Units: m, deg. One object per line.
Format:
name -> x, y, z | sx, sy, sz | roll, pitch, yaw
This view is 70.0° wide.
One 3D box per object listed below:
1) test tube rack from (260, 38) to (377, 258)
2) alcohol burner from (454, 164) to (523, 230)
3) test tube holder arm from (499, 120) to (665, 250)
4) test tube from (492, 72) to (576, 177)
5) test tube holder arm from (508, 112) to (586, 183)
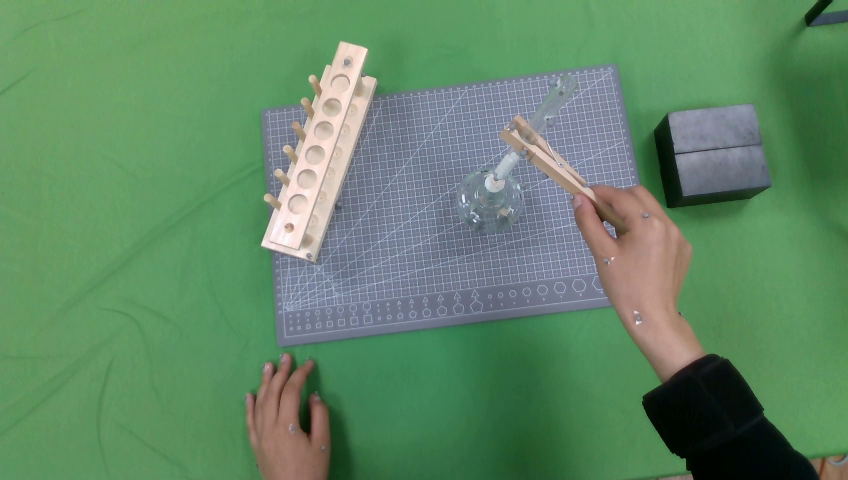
test tube rack -> -0.129, -0.108, 0.705 | 0.066, 0.085, 0.241 | 17, 80, 6
alcohol burner -> 0.073, -0.053, 0.674 | 0.078, 0.119, 0.077 | 0, 77, 1
test tube holder arm -> 0.141, -0.048, 0.543 | 0.178, 0.015, 0.013 | 38, 62, 1
test tube -> 0.093, -0.096, 0.538 | 0.017, 0.151, 0.017 | 7, 65, -14
test tube holder arm -> 0.111, -0.081, 0.547 | 0.087, 0.015, 0.010 | 46, 62, 4
